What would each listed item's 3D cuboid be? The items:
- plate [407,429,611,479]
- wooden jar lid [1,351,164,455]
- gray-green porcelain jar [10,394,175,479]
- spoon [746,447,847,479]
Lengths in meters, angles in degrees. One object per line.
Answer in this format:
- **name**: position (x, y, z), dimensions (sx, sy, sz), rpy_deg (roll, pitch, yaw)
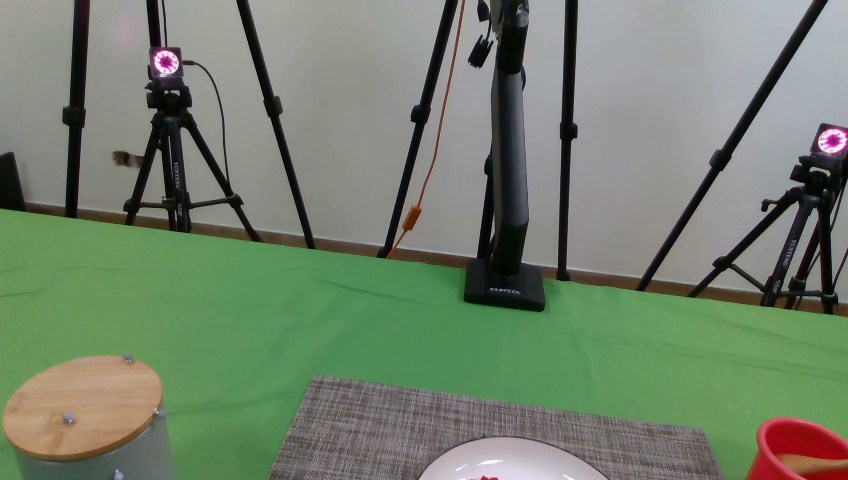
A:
- **plate**: position (0.080, 0.252, 0.520), dimensions (0.208, 0.039, 0.206), rpy_deg (5, 28, -2)
- **wooden jar lid**: position (-0.259, 0.126, 0.465), dimensions (0.108, 0.021, 0.107), rpy_deg (7, 27, -3)
- **gray-green porcelain jar**: position (-0.264, 0.183, 0.495), dimensions (0.106, 0.127, 0.105), rpy_deg (5, 28, -2)
- **spoon**: position (0.397, 0.199, 0.564), dimensions (0.193, 0.021, 0.041), rpy_deg (-24, 5, 36)
